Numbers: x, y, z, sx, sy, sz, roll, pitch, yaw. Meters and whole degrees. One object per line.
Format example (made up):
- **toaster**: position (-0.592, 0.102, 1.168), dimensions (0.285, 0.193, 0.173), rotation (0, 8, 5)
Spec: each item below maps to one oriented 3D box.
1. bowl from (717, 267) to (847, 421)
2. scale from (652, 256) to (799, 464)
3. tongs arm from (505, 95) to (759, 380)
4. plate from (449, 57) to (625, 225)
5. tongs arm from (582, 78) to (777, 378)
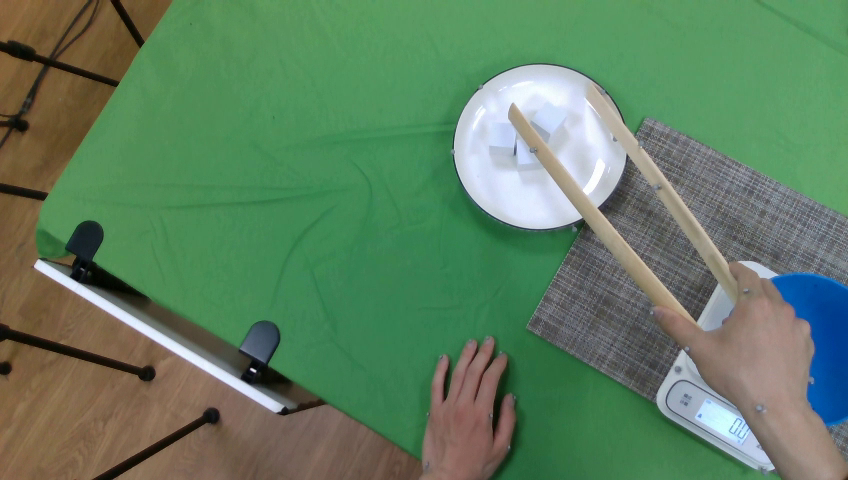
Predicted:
- **bowl**: position (0.370, 0.106, 0.626), dimensions (0.151, 0.077, 0.151), rotation (-1, 82, 4)
- **scale**: position (0.365, 0.131, 0.676), dimensions (0.148, 0.032, 0.200), rotation (30, 85, 9)
- **tongs arm**: position (0.184, -0.022, 0.610), dimensions (0.028, 0.028, 0.383), rotation (-17, 56, -21)
- **plate**: position (0.135, -0.117, 0.736), dimensions (0.207, 0.039, 0.207), rotation (-1, 81, 5)
- **tongs arm**: position (0.238, -0.037, 0.625), dimensions (0.051, 0.027, 0.380), rotation (-14, 55, -15)
